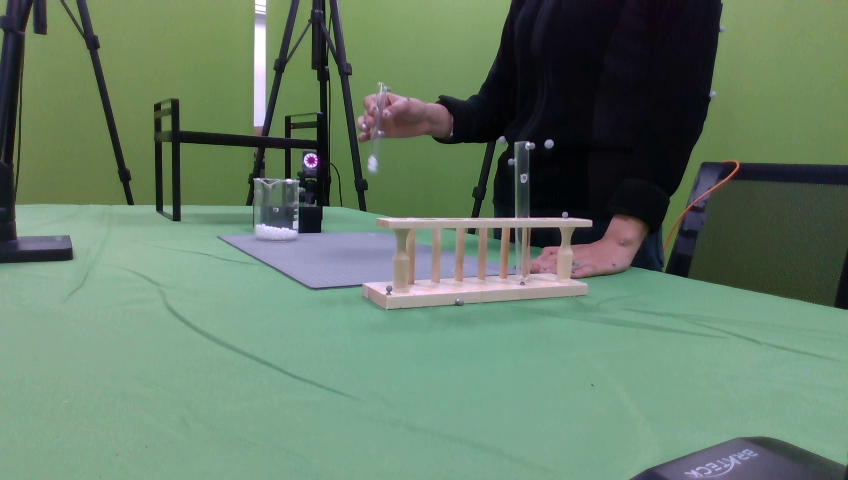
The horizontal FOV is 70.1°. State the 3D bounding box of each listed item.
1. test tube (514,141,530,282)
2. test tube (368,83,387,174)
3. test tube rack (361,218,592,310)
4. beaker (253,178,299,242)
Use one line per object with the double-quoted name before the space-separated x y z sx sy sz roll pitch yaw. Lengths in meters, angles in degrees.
"test tube" 0.103 -0.028 0.636 0.017 0.150 0.017 -2 12 1
"test tube" -0.074 -0.177 0.958 0.017 0.150 0.017 5 -10 1
"test tube rack" 0.060 0.019 0.640 0.243 0.085 0.066 -1 8 -27
"beaker" -0.243 -0.050 0.990 0.074 0.100 0.084 2 9 1
